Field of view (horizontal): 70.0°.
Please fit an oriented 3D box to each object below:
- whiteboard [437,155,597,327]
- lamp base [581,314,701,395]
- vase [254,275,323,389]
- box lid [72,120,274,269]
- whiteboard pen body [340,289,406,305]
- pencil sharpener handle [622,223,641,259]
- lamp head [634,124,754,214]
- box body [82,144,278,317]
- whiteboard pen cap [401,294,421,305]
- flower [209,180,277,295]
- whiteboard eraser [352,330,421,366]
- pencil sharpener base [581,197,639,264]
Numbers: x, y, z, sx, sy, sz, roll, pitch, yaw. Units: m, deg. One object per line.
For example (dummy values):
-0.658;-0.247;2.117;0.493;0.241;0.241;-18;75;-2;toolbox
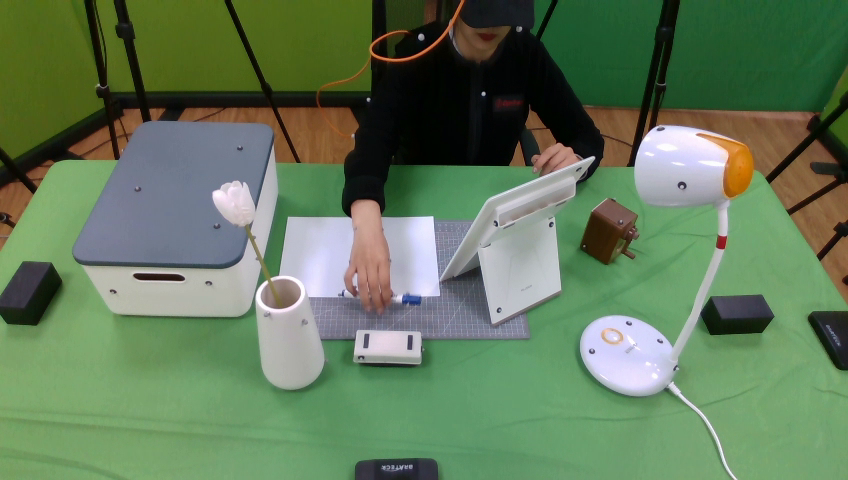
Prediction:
0.180;0.024;1.029;0.217;0.306;0.143;-22;70;-23;whiteboard
0.361;0.145;0.973;0.178;0.181;0.160;34;53;23;lamp base
-0.209;0.143;0.921;0.098;0.201;0.097;1;46;-1;vase
-0.417;-0.094;1.056;0.263;0.015;0.369;1;47;-3;box lid
-0.080;0.101;1.063;0.140;0.017;0.017;6;45;14;whiteboard pen body
0.397;0.003;1.146;0.030;0.068;0.036;37;46;27;pencil sharpener handle
0.351;-0.089;0.776;0.112;0.113;0.122;-30;30;-28;lamp head
-0.421;-0.041;1.108;0.254;0.161;0.361;2;46;-3;box body
-0.022;0.103;1.049;0.033;0.018;0.018;4;45;15;whiteboard pen cap
-0.217;0.075;0.871;0.044;0.363;0.038;-29;36;-19;flower
-0.060;0.180;1.005;0.113;0.042;0.055;3;48;-2;whiteboard eraser
0.362;-0.017;1.179;0.076;0.107;0.061;37;54;27;pencil sharpener base
